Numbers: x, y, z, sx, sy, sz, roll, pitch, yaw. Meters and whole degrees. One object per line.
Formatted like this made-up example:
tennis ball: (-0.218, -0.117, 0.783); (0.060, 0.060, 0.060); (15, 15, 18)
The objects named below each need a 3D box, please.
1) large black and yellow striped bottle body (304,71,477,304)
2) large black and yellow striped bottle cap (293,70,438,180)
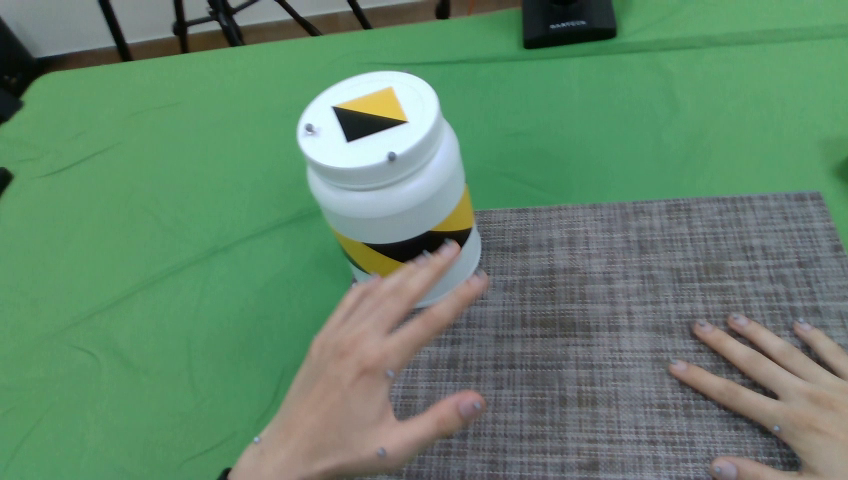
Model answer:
large black and yellow striped bottle body: (-0.028, -0.042, 0.540); (0.130, 0.186, 0.129); (-7, 51, 9)
large black and yellow striped bottle cap: (-0.046, -0.093, 0.476); (0.115, 0.019, 0.114); (-6, 50, 8)
